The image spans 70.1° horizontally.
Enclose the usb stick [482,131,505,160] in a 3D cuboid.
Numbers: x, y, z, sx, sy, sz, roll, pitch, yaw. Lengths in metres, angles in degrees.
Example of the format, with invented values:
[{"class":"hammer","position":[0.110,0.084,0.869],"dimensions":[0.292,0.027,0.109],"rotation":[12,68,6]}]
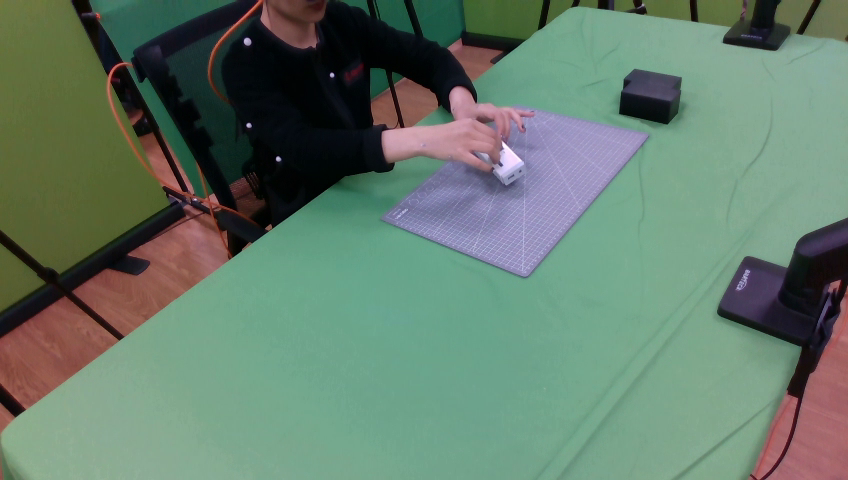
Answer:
[{"class":"usb stick","position":[0.124,-0.162,1.069],"dimensions":[0.027,0.059,0.021],"rotation":[-34,49,-4]}]

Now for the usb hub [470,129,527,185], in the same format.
[{"class":"usb hub","position":[0.134,-0.152,1.097],"dimensions":[0.049,0.025,0.124],"rotation":[-33,49,-2]}]
